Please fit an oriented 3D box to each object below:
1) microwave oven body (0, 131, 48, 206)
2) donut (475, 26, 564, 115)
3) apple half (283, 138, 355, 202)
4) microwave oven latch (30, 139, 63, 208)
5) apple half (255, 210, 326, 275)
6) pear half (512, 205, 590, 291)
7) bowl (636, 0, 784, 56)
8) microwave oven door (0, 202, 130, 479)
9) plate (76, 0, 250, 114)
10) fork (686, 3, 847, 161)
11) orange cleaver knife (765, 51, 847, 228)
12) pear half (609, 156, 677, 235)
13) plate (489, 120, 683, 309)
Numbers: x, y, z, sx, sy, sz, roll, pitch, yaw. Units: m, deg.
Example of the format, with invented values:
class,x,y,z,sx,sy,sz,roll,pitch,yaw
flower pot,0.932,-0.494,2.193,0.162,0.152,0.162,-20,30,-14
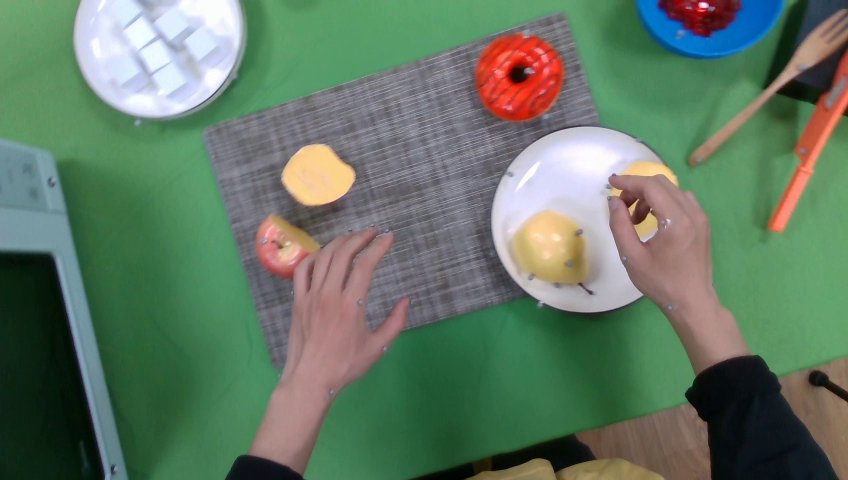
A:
class,x,y,z,sx,sy,sz,roll,pitch,yaw
microwave oven body,-0.561,0.128,0.622,0.326,0.260,0.441,-14,89,4
donut,0.106,-0.189,0.680,0.099,0.048,0.099,0,91,7
apple half,-0.123,-0.074,0.699,0.081,0.033,0.080,3,68,-8
microwave oven latch,-0.452,-0.077,0.712,0.030,0.029,0.079,-13,89,4
apple half,-0.156,0.010,0.684,0.081,0.074,0.053,38,96,0
pear half,0.149,0.014,0.663,0.076,0.056,0.110,-43,90,7
bowl,0.296,-0.265,0.652,0.151,0.077,0.151,0,90,5
microwave oven door,-0.411,0.134,0.604,0.039,0.244,0.355,-14,88,4
plate,-0.304,-0.250,0.720,0.207,0.039,0.207,0,89,5
fork,0.362,-0.160,0.641,0.028,0.018,0.207,41,113,-4
orange cleaver knife,0.413,-0.114,0.639,0.012,0.077,0.212,20,116,10
pear half,0.234,-0.048,0.657,0.070,0.031,0.088,20,102,28
plate,0.177,-0.028,0.675,0.209,0.038,0.209,0,89,5
